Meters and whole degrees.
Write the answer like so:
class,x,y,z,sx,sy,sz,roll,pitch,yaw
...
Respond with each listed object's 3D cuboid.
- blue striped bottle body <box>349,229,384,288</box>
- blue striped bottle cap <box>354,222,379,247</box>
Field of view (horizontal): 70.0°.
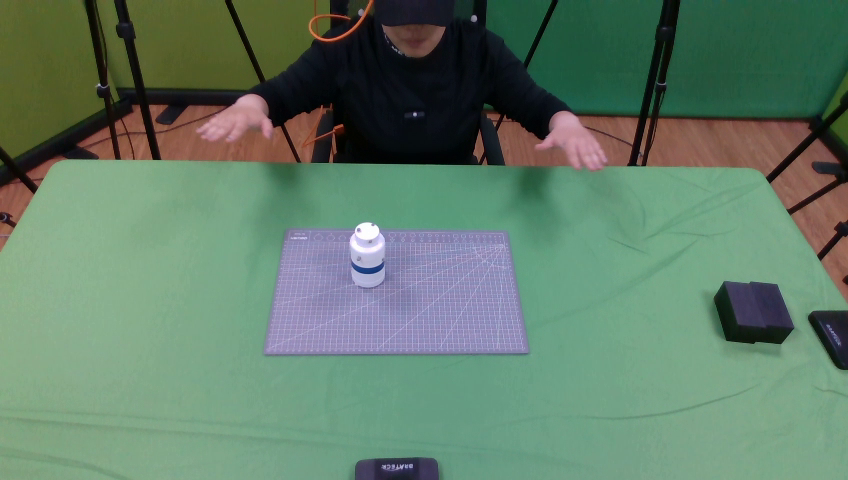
class,x,y,z,sx,sy,sz,roll,pitch,yaw
blue striped bottle body,-0.103,0.026,1.093,0.063,0.121,0.062,2,46,-2
blue striped bottle cap,-0.100,-0.009,1.057,0.044,0.021,0.044,2,46,-1
